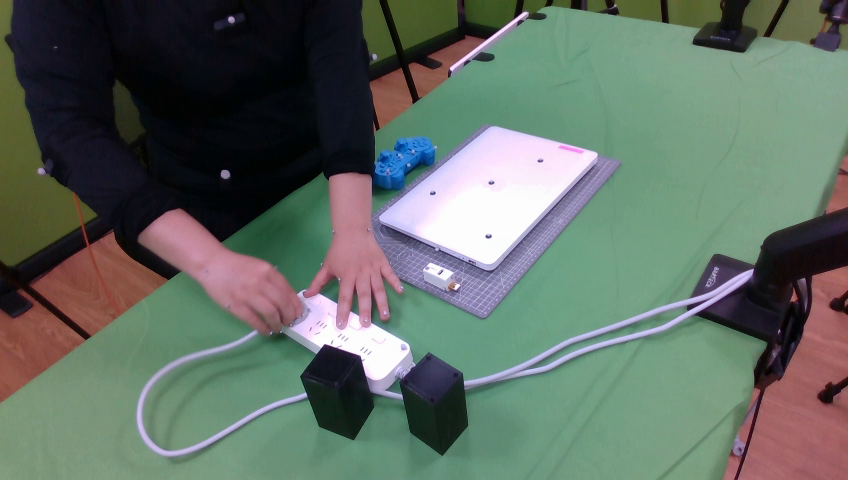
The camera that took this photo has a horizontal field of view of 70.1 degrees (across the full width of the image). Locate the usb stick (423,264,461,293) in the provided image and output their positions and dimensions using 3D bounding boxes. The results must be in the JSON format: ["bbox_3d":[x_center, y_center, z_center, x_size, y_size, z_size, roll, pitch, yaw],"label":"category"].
[{"bbox_3d":[0.028,0.058,0.889,0.059,0.027,0.021,24,46,29],"label":"usb stick"}]

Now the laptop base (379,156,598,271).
[{"bbox_3d":[0.120,-0.085,1.055,0.233,0.023,0.355,21,48,34],"label":"laptop base"}]

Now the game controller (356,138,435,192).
[{"bbox_3d":[-0.049,-0.150,1.136,0.096,0.052,0.155,27,51,28],"label":"game controller"}]

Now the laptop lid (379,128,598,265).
[{"bbox_3d":[0.117,-0.095,1.048,0.239,0.013,0.358,23,49,34],"label":"laptop lid"}]

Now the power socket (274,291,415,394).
[{"bbox_3d":[-0.114,0.134,0.821,0.225,0.033,0.072,24,47,32],"label":"power socket"}]

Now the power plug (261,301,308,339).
[{"bbox_3d":[-0.193,0.113,0.835,0.072,0.053,0.035,-39,52,-13],"label":"power plug"}]
